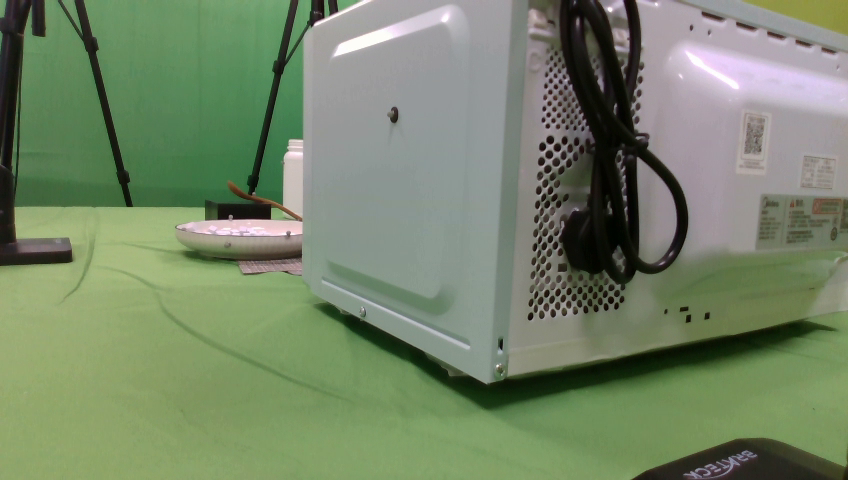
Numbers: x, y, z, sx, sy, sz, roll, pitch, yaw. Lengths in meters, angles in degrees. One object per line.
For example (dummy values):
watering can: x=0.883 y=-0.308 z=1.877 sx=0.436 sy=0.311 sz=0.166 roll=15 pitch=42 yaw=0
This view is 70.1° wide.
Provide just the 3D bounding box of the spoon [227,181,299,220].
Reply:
spoon: x=-0.315 y=-0.074 z=1.235 sx=0.195 sy=0.021 sz=0.041 roll=24 pitch=-9 yaw=-37

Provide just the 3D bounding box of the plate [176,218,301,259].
plate: x=-0.248 y=-0.003 z=0.877 sx=0.209 sy=0.038 sz=0.209 roll=1 pitch=8 yaw=0

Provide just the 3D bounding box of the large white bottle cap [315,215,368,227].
large white bottle cap: x=-0.178 y=-0.041 z=1.308 sx=0.115 sy=0.018 sz=0.115 roll=2 pitch=6 yaw=0

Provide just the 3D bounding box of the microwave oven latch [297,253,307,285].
microwave oven latch: x=-0.082 y=0.027 z=0.582 sx=0.079 sy=0.029 sz=0.030 roll=-2 pitch=7 yaw=-33

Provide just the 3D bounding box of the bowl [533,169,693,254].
bowl: x=0.181 y=-0.030 z=0.596 sx=0.151 sy=0.077 sz=0.151 roll=1 pitch=7 yaw=0

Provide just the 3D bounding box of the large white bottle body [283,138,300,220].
large white bottle body: x=-0.265 y=-0.143 z=1.423 sx=0.131 sy=0.184 sz=0.130 roll=2 pitch=7 yaw=0

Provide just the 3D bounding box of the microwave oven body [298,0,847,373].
microwave oven body: x=0.151 y=-0.055 z=0.542 sx=0.444 sy=0.260 sz=0.324 roll=-2 pitch=7 yaw=-33

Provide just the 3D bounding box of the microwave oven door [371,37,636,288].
microwave oven door: x=0.110 y=-0.080 z=0.686 sx=0.358 sy=0.243 sz=0.039 roll=-2 pitch=9 yaw=-33
